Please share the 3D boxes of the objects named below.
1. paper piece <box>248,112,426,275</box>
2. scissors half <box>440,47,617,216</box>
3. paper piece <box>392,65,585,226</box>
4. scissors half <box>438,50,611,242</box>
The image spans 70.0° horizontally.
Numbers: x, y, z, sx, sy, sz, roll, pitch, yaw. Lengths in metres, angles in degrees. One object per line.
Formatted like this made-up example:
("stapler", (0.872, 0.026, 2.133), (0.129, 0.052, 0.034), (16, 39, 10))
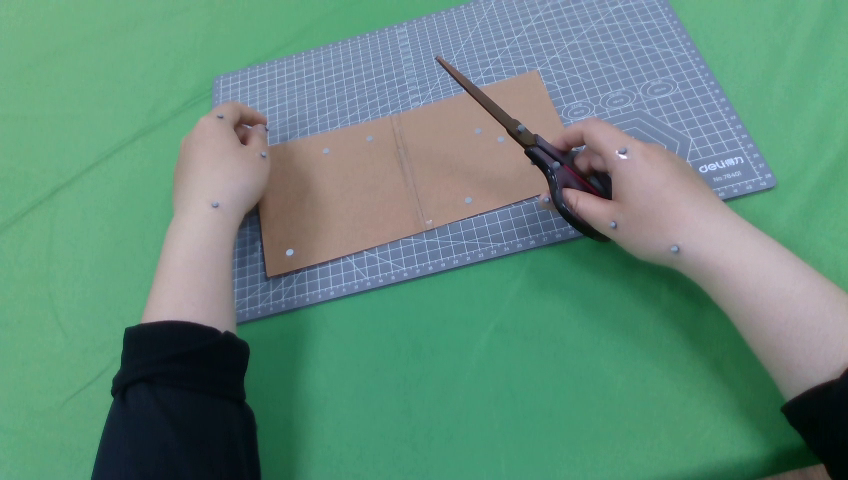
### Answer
("paper piece", (-0.079, -0.046, 0.517), (0.138, 0.009, 0.134), (-15, 56, 1))
("scissors half", (0.077, -0.076, 0.430), (0.013, 0.176, 0.039), (-34, 27, 43))
("paper piece", (0.049, -0.085, 0.511), (0.135, 0.004, 0.134), (-17, 57, 3))
("scissors half", (0.070, -0.064, 0.416), (0.175, 0.013, 0.040), (48, 39, -7))
